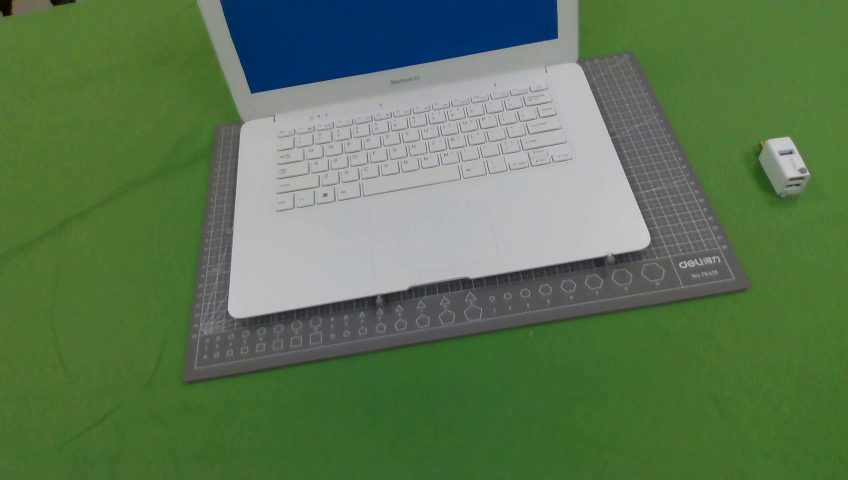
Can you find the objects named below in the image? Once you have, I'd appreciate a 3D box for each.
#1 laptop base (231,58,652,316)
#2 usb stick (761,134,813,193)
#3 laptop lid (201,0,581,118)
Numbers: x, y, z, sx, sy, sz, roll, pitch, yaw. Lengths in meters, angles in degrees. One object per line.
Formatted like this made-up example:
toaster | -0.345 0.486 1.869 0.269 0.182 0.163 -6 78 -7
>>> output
laptop base | 0.001 -0.058 0.562 0.354 0.023 0.233 -10 58 2
usb stick | 0.308 -0.071 0.520 0.021 0.027 0.058 -7 51 5
laptop lid | -0.031 -0.245 0.559 0.357 0.244 0.013 -11 37 3
